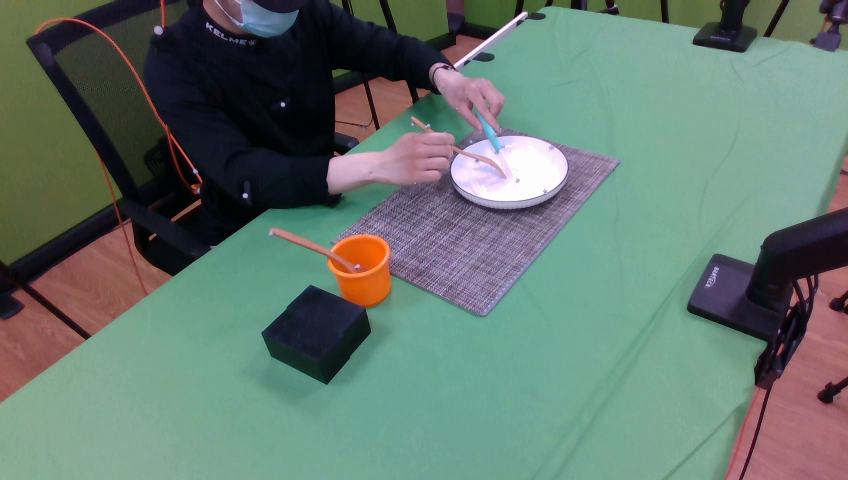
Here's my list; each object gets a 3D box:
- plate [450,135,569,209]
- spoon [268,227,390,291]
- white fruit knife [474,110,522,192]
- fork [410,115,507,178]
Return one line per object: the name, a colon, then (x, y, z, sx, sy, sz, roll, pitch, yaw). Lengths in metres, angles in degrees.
plate: (0.149, -0.117, 1.066, 0.209, 0.038, 0.208, -4, 41, 4)
spoon: (-0.132, 0.025, 0.862, 0.021, 0.195, 0.041, -40, 32, 33)
white fruit knife: (0.134, -0.165, 1.089, 0.016, 0.027, 0.206, -16, 57, -11)
fork: (0.062, -0.158, 1.032, 0.209, 0.018, 0.028, 24, 25, -23)
